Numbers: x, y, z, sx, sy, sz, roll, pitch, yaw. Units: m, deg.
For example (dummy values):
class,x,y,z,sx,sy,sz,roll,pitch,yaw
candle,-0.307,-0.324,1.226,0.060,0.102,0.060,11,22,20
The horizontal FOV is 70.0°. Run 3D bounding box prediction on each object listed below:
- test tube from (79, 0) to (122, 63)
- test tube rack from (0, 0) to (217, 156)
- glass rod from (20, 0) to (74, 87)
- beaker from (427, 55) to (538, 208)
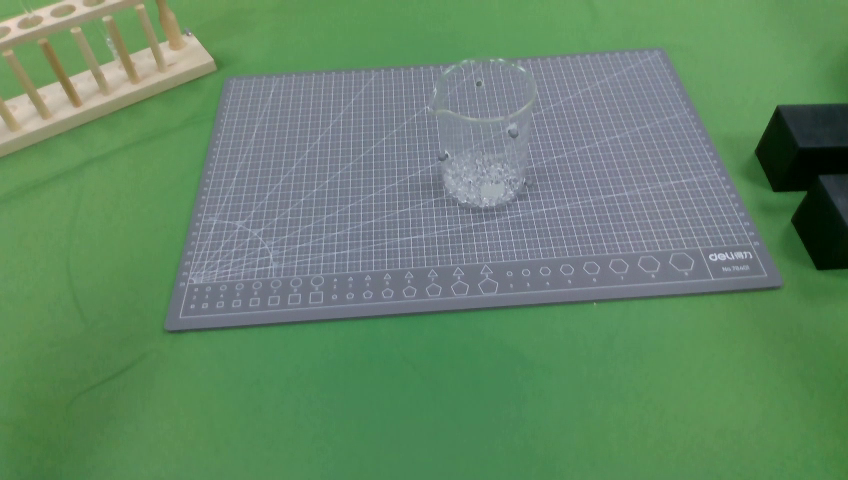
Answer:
class,x,y,z,sx,sy,sz,roll,pitch,yaw
test tube,-0.314,-0.228,0.560,0.017,0.151,0.017,-2,54,4
test tube rack,-0.335,-0.169,0.577,0.242,0.086,0.066,-29,56,-19
glass rod,-0.349,-0.209,0.525,0.008,0.201,0.008,1,53,-1
beaker,0.044,-0.080,0.477,0.084,0.101,0.073,-19,53,-11
